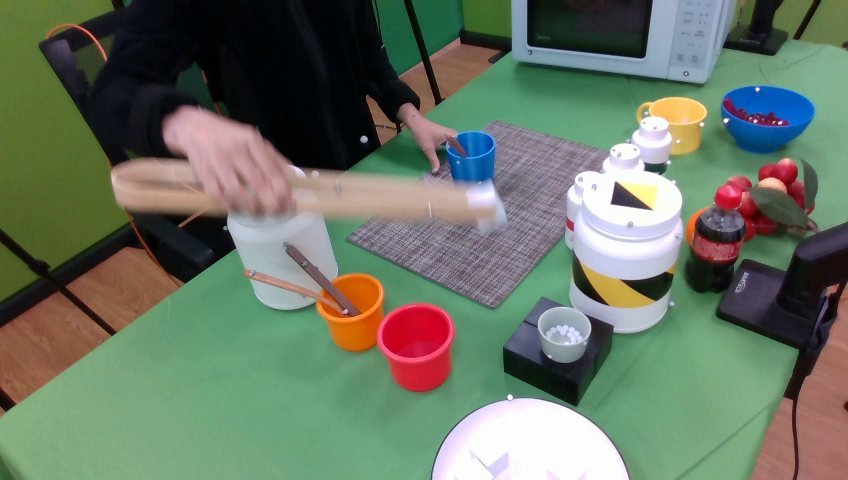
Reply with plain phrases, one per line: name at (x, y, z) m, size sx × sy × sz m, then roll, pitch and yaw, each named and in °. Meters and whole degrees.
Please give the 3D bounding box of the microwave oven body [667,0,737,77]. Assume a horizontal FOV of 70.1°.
microwave oven body at (0.462, -0.552, 1.368) m, size 0.439 × 0.261 × 0.326 m, roll 15°, pitch 45°, yaw 26°

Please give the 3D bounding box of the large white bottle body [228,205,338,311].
large white bottle body at (-0.207, -0.002, 0.884) m, size 0.130 × 0.185 × 0.130 m, roll -4°, pitch 40°, yaw 4°

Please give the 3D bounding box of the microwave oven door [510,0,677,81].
microwave oven door at (0.354, -0.478, 1.290) m, size 0.353 × 0.245 × 0.039 m, roll 15°, pitch 45°, yaw 25°

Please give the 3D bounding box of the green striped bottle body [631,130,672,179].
green striped bottle body at (0.375, -0.140, 1.007) m, size 0.063 × 0.120 × 0.063 m, roll -5°, pitch 40°, yaw 5°

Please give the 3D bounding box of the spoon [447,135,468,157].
spoon at (0.067, -0.132, 0.993) m, size 0.041 × 0.195 × 0.021 m, roll 6°, pitch 74°, yaw 21°

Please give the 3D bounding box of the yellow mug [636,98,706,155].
yellow mug at (0.453, -0.217, 1.128) m, size 0.100 × 0.064 × 0.129 m, roll -34°, pitch 46°, yaw -27°

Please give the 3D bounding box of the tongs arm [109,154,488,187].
tongs arm at (-0.124, -0.063, 0.632) m, size 0.385 × 0.026 × 0.050 m, roll 4°, pitch 34°, yaw -1°

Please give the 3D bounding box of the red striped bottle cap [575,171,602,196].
red striped bottle cap at (0.242, -0.081, 0.876) m, size 0.044 × 0.018 × 0.044 m, roll -5°, pitch 44°, yaw 5°

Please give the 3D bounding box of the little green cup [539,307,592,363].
little green cup at (0.168, 0.115, 0.721) m, size 0.061 × 0.039 × 0.061 m, roll -4°, pitch 42°, yaw 4°

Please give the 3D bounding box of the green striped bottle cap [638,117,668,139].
green striped bottle cap at (0.369, -0.180, 0.974) m, size 0.044 × 0.020 × 0.044 m, roll -4°, pitch 41°, yaw 4°

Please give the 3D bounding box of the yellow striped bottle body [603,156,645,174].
yellow striped bottle body at (0.313, -0.089, 0.956) m, size 0.063 × 0.121 × 0.062 m, roll -4°, pitch 39°, yaw 4°

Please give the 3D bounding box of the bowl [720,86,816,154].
bowl at (0.605, -0.206, 1.082) m, size 0.151 × 0.077 × 0.150 m, roll -5°, pitch 40°, yaw 5°

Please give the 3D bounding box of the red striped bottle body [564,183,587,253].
red striped bottle body at (0.246, -0.041, 0.910) m, size 0.063 × 0.120 × 0.062 m, roll -2°, pitch 39°, yaw 2°

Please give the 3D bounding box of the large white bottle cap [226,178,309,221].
large white bottle cap at (-0.215, -0.067, 0.829) m, size 0.115 × 0.018 × 0.114 m, roll -4°, pitch 40°, yaw 4°

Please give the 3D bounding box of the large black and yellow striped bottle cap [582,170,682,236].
large black and yellow striped bottle cap at (0.252, -0.048, 0.735) m, size 0.115 × 0.019 × 0.114 m, roll -3°, pitch 40°, yaw 3°

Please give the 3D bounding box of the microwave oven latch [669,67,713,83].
microwave oven latch at (0.556, -0.349, 1.261) m, size 0.078 × 0.029 × 0.030 m, roll 16°, pitch 46°, yaw 27°

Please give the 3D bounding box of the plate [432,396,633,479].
plate at (0.112, 0.261, 0.634) m, size 0.209 × 0.038 × 0.208 m, roll -5°, pitch 40°, yaw 4°

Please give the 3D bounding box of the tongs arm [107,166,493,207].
tongs arm at (-0.123, -0.051, 0.614) m, size 0.388 × 0.028 × 0.028 m, roll 2°, pitch 38°, yaw -4°

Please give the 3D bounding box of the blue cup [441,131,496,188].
blue cup at (0.083, -0.122, 1.041) m, size 0.092 × 0.100 × 0.092 m, roll -4°, pitch 41°, yaw 4°

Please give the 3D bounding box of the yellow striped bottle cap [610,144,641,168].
yellow striped bottle cap at (0.307, -0.128, 0.923) m, size 0.044 × 0.019 × 0.044 m, roll -6°, pitch 39°, yaw 5°

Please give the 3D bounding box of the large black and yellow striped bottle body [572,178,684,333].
large black and yellow striped bottle body at (0.262, 0.017, 0.788) m, size 0.131 × 0.185 × 0.130 m, roll -5°, pitch 40°, yaw 4°

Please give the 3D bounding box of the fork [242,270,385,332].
fork at (-0.142, 0.082, 0.802) m, size 0.209 × 0.018 × 0.028 m, roll 28°, pitch 38°, yaw -26°

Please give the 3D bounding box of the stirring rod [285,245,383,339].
stirring rod at (-0.121, 0.071, 0.820) m, size 0.176 × 0.006 × 0.014 m, roll 44°, pitch 52°, yaw -7°
